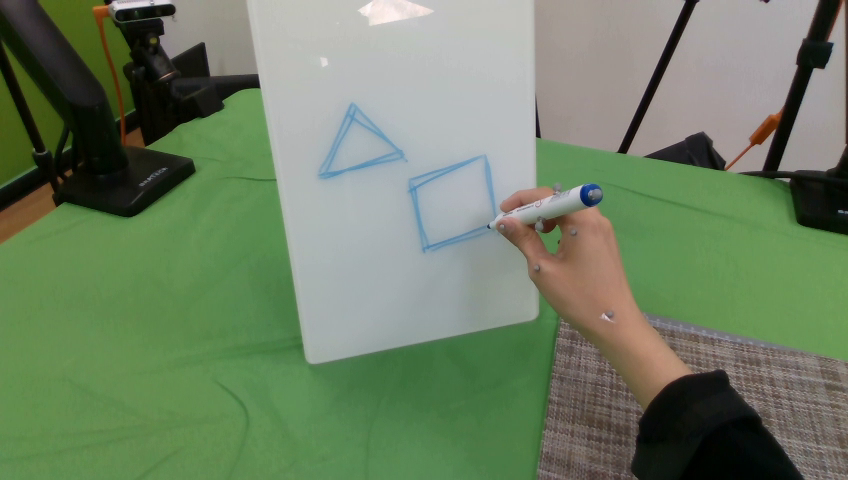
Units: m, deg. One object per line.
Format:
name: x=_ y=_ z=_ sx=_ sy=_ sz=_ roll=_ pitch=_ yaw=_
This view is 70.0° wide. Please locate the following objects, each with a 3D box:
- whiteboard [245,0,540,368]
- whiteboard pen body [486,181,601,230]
whiteboard: x=-0.025 y=-0.072 z=0.552 sx=0.218 sy=0.307 sz=0.142 roll=-9 pitch=19 yaw=-12
whiteboard pen body: x=0.080 y=-0.021 z=0.443 sx=0.017 sy=0.017 sz=0.140 roll=-19 pitch=0 yaw=-24
